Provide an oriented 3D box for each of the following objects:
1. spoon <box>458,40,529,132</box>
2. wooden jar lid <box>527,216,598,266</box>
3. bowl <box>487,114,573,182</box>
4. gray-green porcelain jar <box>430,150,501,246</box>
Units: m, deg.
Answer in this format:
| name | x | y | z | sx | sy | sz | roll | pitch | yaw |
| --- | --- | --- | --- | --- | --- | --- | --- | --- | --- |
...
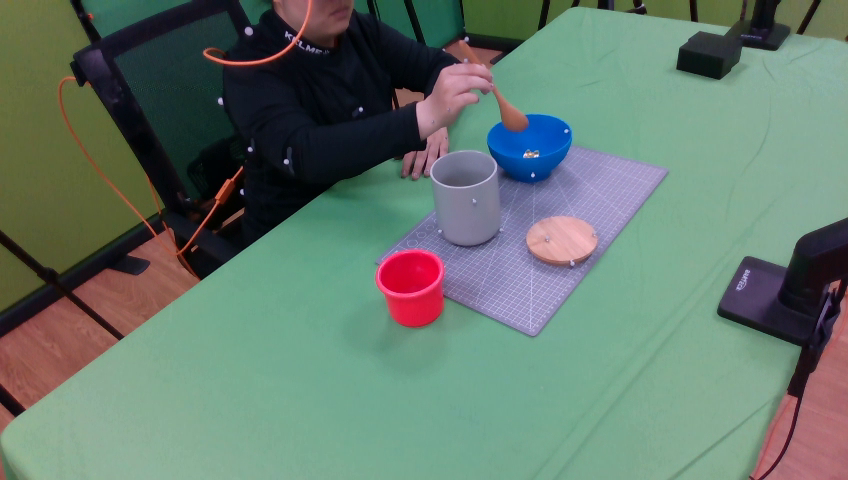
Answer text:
| name | x | y | z | sx | sy | sz | roll | pitch | yaw |
| --- | --- | --- | --- | --- | --- | --- | --- | --- | --- |
| spoon | 0.110 | -0.243 | 0.971 | 0.041 | 0.195 | 0.021 | -21 | 35 | 33 |
| wooden jar lid | 0.214 | 0.003 | 0.937 | 0.108 | 0.021 | 0.108 | -4 | 40 | 4 |
| bowl | 0.190 | -0.156 | 1.085 | 0.151 | 0.077 | 0.150 | -5 | 40 | 5 |
| gray-green porcelain jar | 0.069 | -0.062 | 0.959 | 0.106 | 0.127 | 0.105 | -5 | 40 | 5 |
